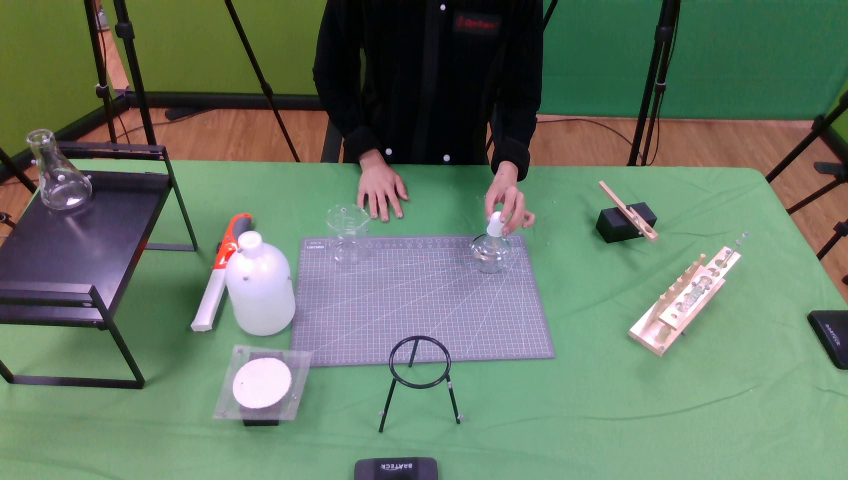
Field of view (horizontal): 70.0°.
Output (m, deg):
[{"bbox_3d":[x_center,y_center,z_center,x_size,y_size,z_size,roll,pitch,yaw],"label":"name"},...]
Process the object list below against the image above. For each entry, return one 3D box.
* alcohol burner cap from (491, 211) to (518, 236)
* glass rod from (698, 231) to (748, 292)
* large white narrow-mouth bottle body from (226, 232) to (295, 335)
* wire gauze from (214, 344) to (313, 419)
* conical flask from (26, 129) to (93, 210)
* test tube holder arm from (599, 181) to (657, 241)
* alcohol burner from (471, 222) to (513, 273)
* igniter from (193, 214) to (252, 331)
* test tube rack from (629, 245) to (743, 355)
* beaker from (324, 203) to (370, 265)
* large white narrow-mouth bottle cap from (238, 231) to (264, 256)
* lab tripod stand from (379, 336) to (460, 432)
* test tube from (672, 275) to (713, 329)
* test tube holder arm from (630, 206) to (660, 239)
[{"bbox_3d":[0.140,-0.033,1.079,0.034,0.034,0.047,-29,49,-28],"label":"alcohol burner cap"},{"bbox_3d":[0.514,0.044,1.051,0.008,0.200,0.008,1,55,-1],"label":"glass rod"},{"bbox_3d":[-0.270,0.065,0.995,0.102,0.195,0.101,2,46,-2],"label":"large white narrow-mouth bottle body"},{"bbox_3d":[-0.241,0.213,0.915,0.121,0.011,0.124,5,46,1],"label":"wire gauze"},{"bbox_3d":[-0.575,-0.113,0.946,0.075,0.122,0.075,2,46,-2],"label":"conical flask"},{"bbox_3d":[0.407,-0.062,1.219,0.013,0.015,0.177,-23,51,-13],"label":"test tube holder arm"},{"bbox_3d":[0.128,0.005,1.132,0.078,0.120,0.077,0,47,0],"label":"alcohol burner"},{"bbox_3d":[-0.368,0.050,1.119,0.057,0.025,0.275,-3,46,8],"label":"igniter"},{"bbox_3d":[0.474,0.095,1.091,0.242,0.085,0.066,-34,56,-31],"label":"test tube rack"},{"bbox_3d":[-0.142,-0.009,1.137,0.084,0.101,0.073,-2,47,-7],"label":"beaker"},{"bbox_3d":[-0.266,0.006,0.932,0.038,0.024,0.037,2,46,-2],"label":"large white narrow-mouth bottle cap"},{"bbox_3d":[-0.011,0.214,0.911,0.148,0.132,0.147,1,45,0],"label":"lab tripod stand"},{"bbox_3d":[0.438,0.106,1.007,0.017,0.151,0.017,4,51,-4],"label":"test tube"},{"bbox_3d":[0.431,-0.034,1.192,0.010,0.015,0.087,-23,51,-12],"label":"test tube holder arm"}]
